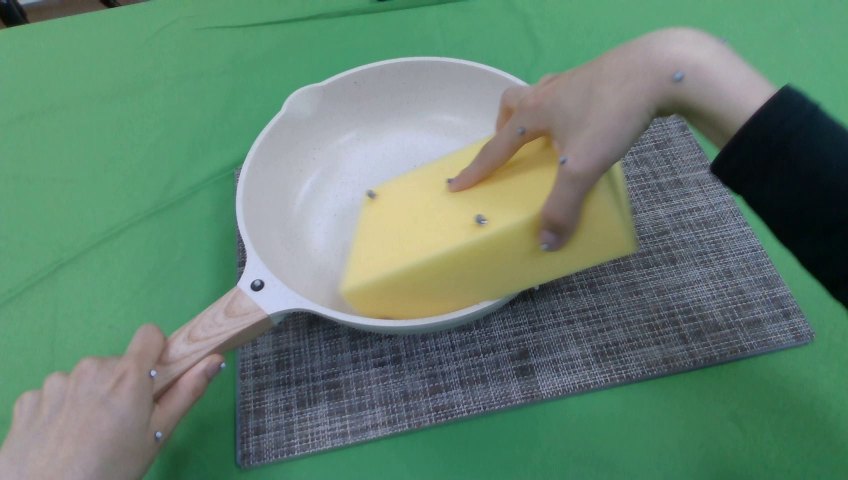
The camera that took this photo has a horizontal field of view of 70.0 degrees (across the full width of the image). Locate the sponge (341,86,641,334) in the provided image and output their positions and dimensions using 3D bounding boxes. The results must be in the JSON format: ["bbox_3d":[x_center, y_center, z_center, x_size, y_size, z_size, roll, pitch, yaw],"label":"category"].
[{"bbox_3d":[0.045,-0.018,0.454,0.206,0.061,0.117,-22,38,26],"label":"sponge"}]

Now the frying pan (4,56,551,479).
[{"bbox_3d":[-0.085,0.013,0.485,0.304,0.103,0.487,37,58,27],"label":"frying pan"}]
